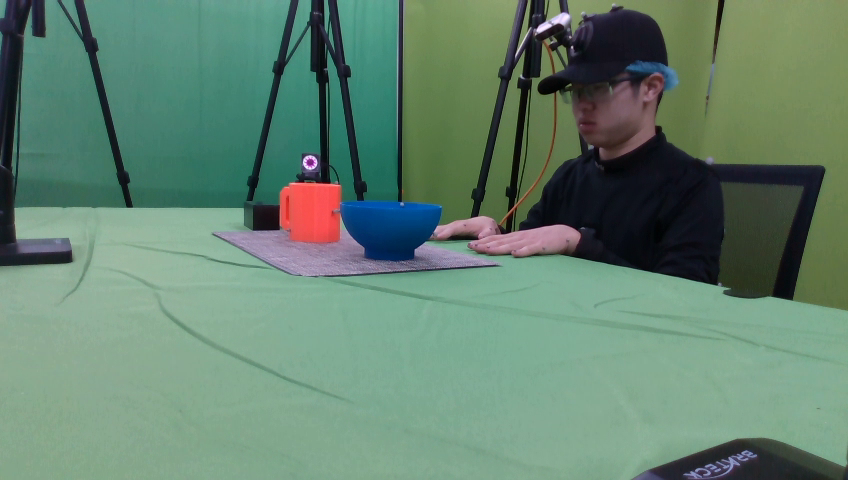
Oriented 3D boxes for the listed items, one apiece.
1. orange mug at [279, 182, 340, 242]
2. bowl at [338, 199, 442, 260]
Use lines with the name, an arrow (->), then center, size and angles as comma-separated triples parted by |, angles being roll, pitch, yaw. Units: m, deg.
orange mug -> -0.202, -0.052, 1.042 | 0.125, 0.100, 0.084 | 12, 11, 34
bowl -> -0.050, -0.015, 0.878 | 0.151, 0.077, 0.151 | 2, 8, 0
